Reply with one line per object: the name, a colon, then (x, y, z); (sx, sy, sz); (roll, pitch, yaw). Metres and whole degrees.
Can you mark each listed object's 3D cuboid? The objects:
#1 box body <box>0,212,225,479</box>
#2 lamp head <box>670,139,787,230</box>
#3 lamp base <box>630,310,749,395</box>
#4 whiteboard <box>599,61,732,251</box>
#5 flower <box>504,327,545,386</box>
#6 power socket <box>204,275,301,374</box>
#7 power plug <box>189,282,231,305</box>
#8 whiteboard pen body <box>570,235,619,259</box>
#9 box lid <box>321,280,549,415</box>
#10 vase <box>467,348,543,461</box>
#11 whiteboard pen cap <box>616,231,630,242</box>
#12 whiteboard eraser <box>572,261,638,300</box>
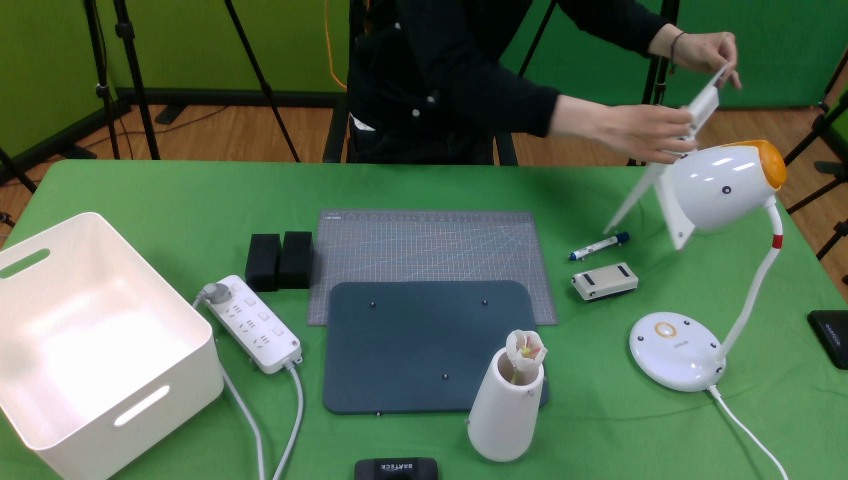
box body: (-0.506, 0.155, 0.915); (0.362, 0.161, 0.254); (35, 54, 26)
lamp head: (0.415, -0.078, 0.811); (0.113, 0.123, 0.112); (12, 70, -37)
lamp base: (0.447, 0.143, 0.984); (0.161, 0.181, 0.178); (-24, 55, -24)
whiteboard: (0.481, -0.122, 1.081); (0.143, 0.306, 0.217); (39, 54, 15)
flower: (0.114, 0.189, 0.790); (0.044, 0.363, 0.038); (34, 69, 19)
power socket: (-0.296, 0.140, 1.035); (0.072, 0.033, 0.225); (-33, 57, -30)
power plug: (-0.368, 0.097, 1.038); (0.072, 0.053, 0.035); (-27, 54, -21)
whiteboard pen body: (0.351, 0.011, 1.215); (0.141, 0.017, 0.017); (-20, 51, -23)
box lid: (0.013, 0.174, 1.040); (0.372, 0.015, 0.261); (0, 47, -4)
vase: (0.116, 0.234, 0.860); (0.098, 0.201, 0.097); (1, 47, -1)
whiteboard pen cap: (0.403, -0.007, 1.235); (0.033, 0.018, 0.018); (-19, 50, -22)
whiteboard eraser: (0.338, 0.078, 1.133); (0.113, 0.042, 0.055); (-12, 46, -15)
